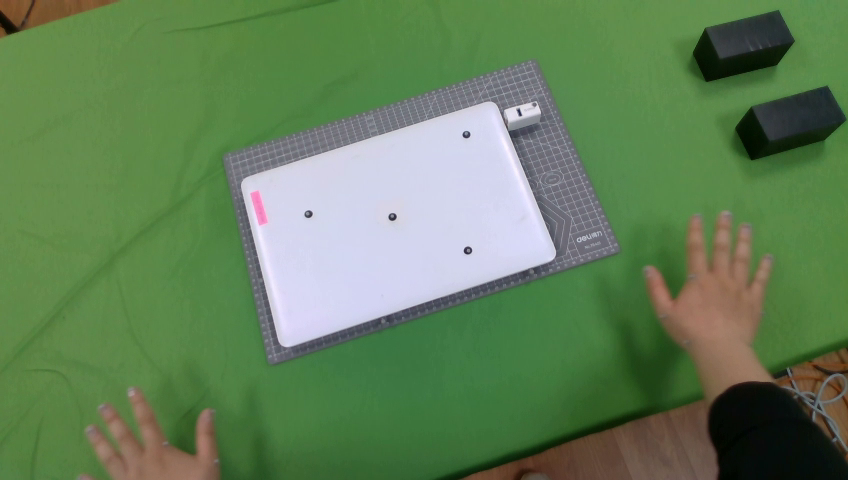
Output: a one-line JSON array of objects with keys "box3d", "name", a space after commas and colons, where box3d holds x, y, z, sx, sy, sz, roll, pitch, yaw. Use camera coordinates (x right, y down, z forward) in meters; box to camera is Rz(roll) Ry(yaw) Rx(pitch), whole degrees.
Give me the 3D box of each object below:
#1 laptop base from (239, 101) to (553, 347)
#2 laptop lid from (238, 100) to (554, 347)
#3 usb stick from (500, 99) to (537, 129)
[{"box3d": [-0.041, -0.027, 0.769, 0.354, 0.023, 0.234, -18, 74, -2], "name": "laptop base"}, {"box3d": [-0.042, -0.029, 0.757, 0.357, 0.013, 0.240, -17, 73, -2], "name": "laptop lid"}, {"box3d": [0.117, -0.162, 0.791, 0.059, 0.027, 0.021, -17, 70, 1], "name": "usb stick"}]
